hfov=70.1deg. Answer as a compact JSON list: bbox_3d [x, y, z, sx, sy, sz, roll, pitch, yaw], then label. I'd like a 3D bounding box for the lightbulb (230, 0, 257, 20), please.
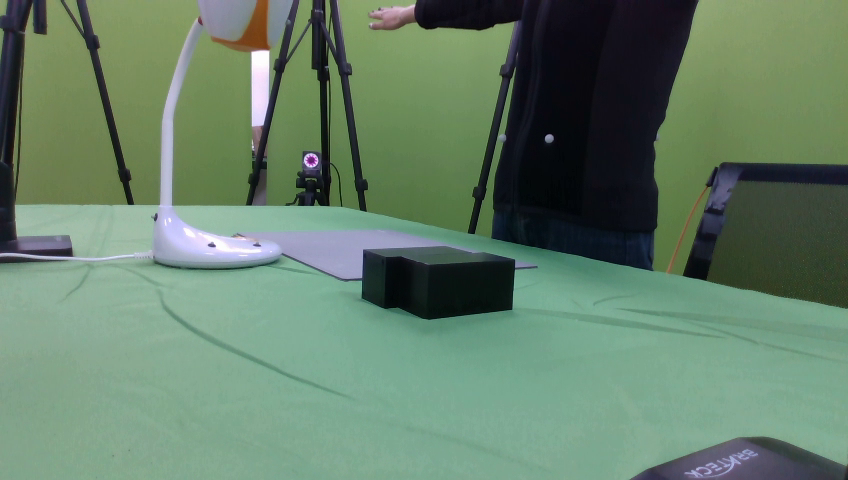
[{"bbox_3d":[-0.175,-0.276,0.603,0.059,0.107,0.059,11,11,-2],"label":"lightbulb"}]

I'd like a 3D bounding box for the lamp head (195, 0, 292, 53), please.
[{"bbox_3d":[-0.185,-0.254,0.611,0.112,0.123,0.112,10,20,-3],"label":"lamp head"}]

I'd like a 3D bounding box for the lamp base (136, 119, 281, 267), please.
[{"bbox_3d":[-0.275,-0.061,0.773,0.160,0.180,0.180,9,13,44],"label":"lamp base"}]
